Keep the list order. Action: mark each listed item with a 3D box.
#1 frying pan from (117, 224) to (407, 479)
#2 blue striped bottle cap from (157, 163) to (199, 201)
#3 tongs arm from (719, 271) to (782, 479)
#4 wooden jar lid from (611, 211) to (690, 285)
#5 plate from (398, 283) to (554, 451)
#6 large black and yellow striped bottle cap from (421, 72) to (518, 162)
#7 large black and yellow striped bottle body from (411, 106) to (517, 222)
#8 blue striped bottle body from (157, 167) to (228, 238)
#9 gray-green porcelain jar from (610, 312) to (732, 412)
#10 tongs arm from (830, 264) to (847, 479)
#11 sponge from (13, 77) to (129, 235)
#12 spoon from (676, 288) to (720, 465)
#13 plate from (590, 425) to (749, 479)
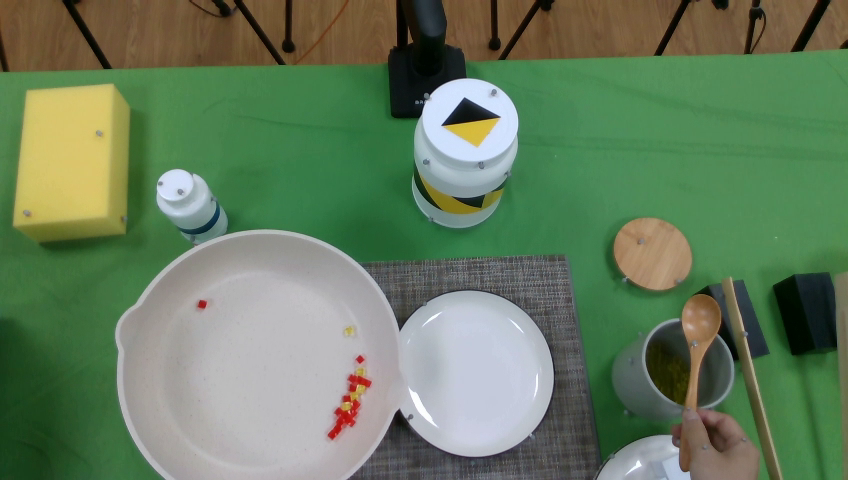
[{"bbox_3d":[-0.185,0.219,0.616,0.308,0.103,0.484,19,60,-16],"label":"frying pan"},{"bbox_3d":[-0.299,-0.071,0.735,0.044,0.021,0.044,1,71,-3],"label":"blue striped bottle cap"},{"bbox_3d":[0.427,0.224,0.737,0.051,0.026,0.383,-7,80,-8],"label":"tongs arm"},{"bbox_3d":[0.315,0.012,0.848,0.108,0.021,0.107,1,71,-2],"label":"wooden jar lid"},{"bbox_3d":[0.058,0.158,0.766,0.209,0.038,0.207,1,70,-2],"label":"plate"},{"bbox_3d":[0.053,-0.146,0.714,0.115,0.019,0.114,1,71,-2],"label":"large black and yellow striped bottle cap"},{"bbox_3d":[0.049,-0.115,0.793,0.131,0.185,0.130,1,69,-2],"label":"large black and yellow striped bottle body"},{"bbox_3d":[-0.300,-0.052,0.782,0.063,0.121,0.062,1,69,-2],"label":"blue striped bottle body"},{"bbox_3d":[0.291,0.153,0.737,0.106,0.127,0.105,1,69,-2],"label":"gray-green porcelain jar"},{"bbox_3d":[0.512,0.220,0.745,0.028,0.028,0.386,8,79,-8],"label":"tongs arm"},{"bbox_3d":[-0.477,-0.116,0.828,0.118,0.061,0.205,-7,71,-6],"label":"sponge"},{"bbox_3d":[0.292,0.145,0.662,0.041,0.022,0.192,8,69,25],"label":"spoon"},{"bbox_3d":[0.292,0.328,0.721,0.208,0.039,0.206,1,69,-2],"label":"plate"}]
